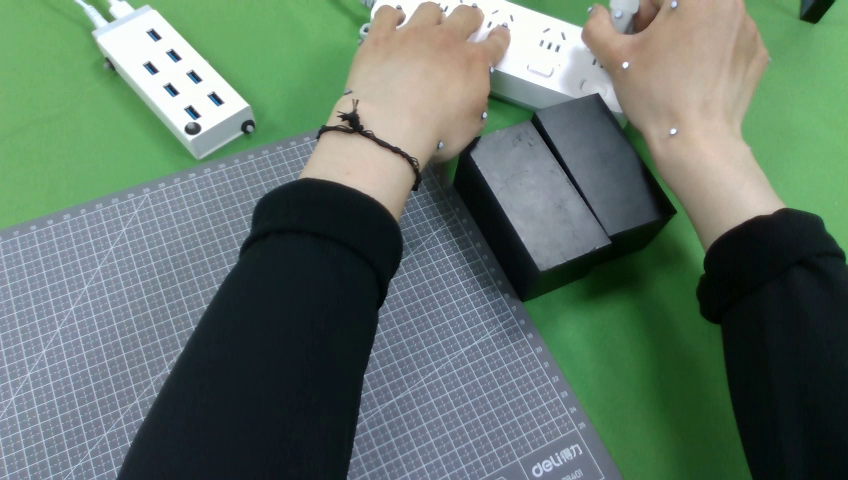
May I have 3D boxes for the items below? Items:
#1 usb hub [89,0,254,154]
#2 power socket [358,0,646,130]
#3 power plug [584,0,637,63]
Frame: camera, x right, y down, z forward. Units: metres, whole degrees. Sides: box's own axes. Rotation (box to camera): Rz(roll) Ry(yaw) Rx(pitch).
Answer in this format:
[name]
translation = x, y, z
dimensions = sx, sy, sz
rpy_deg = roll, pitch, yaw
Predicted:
[usb hub]
translation = -0.180, -0.118, 0.429
dimensions = 0.049, 0.025, 0.124
rpy_deg = -39, 74, -21
[power socket]
translation = 0.062, -0.150, 0.466
dimensions = 0.226, 0.033, 0.072
rpy_deg = 22, 63, 5
[power plug]
translation = 0.144, -0.161, 0.446
dimensions = 0.035, 0.053, 0.072
rpy_deg = 31, 64, 12
